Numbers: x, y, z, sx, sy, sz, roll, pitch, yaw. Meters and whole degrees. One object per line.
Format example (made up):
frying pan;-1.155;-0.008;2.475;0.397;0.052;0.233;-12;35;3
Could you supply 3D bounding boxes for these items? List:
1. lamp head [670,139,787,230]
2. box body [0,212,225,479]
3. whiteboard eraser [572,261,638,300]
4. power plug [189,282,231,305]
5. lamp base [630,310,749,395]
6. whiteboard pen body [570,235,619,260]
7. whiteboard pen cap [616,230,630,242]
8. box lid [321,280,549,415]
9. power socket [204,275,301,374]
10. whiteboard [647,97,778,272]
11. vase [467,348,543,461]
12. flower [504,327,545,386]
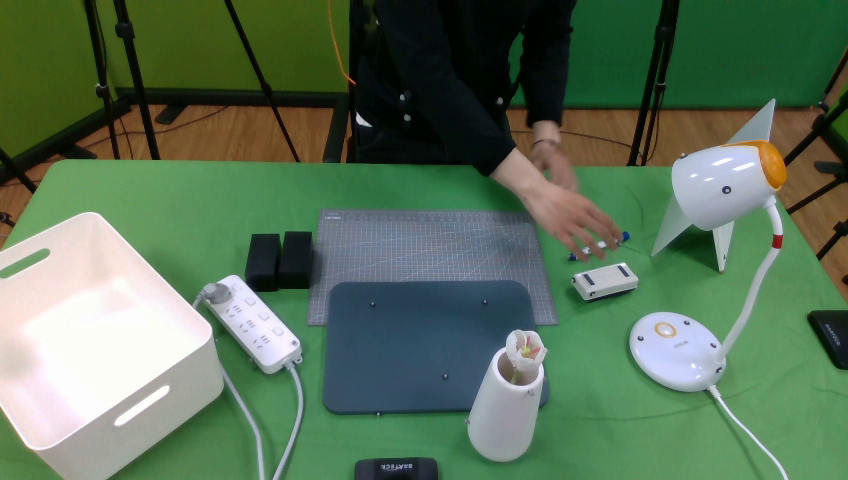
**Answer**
lamp head;0.415;-0.078;0.812;0.113;0.123;0.112;12;70;-37
box body;-0.506;0.155;0.915;0.362;0.161;0.254;35;54;26
whiteboard eraser;0.338;0.078;1.133;0.113;0.042;0.055;-12;46;-15
power plug;-0.368;0.097;1.038;0.072;0.053;0.035;-27;55;-21
lamp base;0.447;0.143;0.984;0.161;0.181;0.178;-24;55;-24
whiteboard pen body;0.351;0.011;1.215;0.141;0.017;0.017;-20;51;-23
whiteboard pen cap;0.403;-0.007;1.235;0.033;0.018;0.018;-18;50;-25
box lid;0.013;0.174;1.040;0.372;0.015;0.261;0;47;-5
power socket;-0.296;0.140;1.035;0.072;0.033;0.225;-33;57;-30
whiteboard;0.602;-0.079;1.162;0.144;0.306;0.216;35;51;2
vase;0.116;0.234;0.860;0.098;0.201;0.097;1;47;-1
flower;0.114;0.189;0.790;0.044;0.363;0.038;33;69;19
